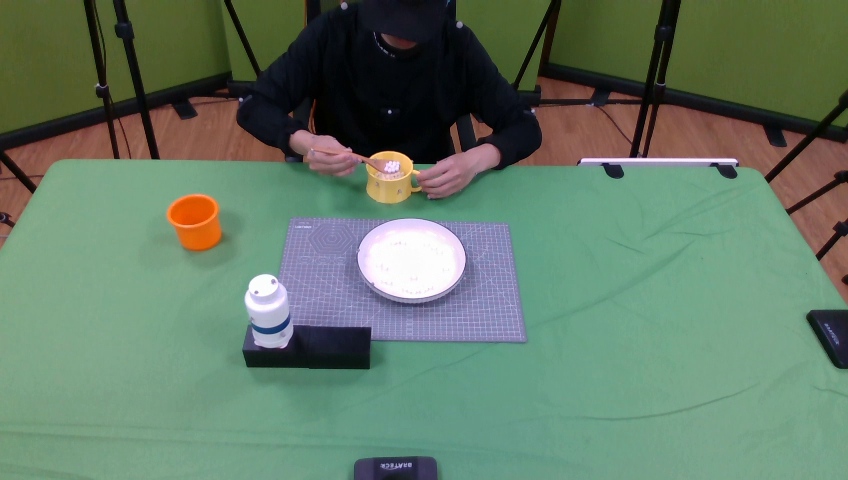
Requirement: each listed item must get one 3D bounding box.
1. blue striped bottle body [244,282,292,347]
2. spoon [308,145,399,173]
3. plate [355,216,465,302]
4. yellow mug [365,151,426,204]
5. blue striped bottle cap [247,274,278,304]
[{"bbox_3d":[-0.241,0.108,0.937,0.063,0.121,0.062,2,46,-2],"label":"blue striped bottle body"},{"bbox_3d":[-0.138,-0.166,1.209,0.194,0.022,0.041,12,48,-31],"label":"spoon"},{"bbox_3d":[-0.027,0.039,1.144,0.208,0.039,0.206,2,46,-2],"label":"plate"},{"bbox_3d":[-0.061,-0.133,1.291,0.131,0.064,0.099,8,46,3],"label":"yellow mug"},{"bbox_3d":[-0.239,0.072,0.900,0.044,0.021,0.044,4,46,-4],"label":"blue striped bottle cap"}]
